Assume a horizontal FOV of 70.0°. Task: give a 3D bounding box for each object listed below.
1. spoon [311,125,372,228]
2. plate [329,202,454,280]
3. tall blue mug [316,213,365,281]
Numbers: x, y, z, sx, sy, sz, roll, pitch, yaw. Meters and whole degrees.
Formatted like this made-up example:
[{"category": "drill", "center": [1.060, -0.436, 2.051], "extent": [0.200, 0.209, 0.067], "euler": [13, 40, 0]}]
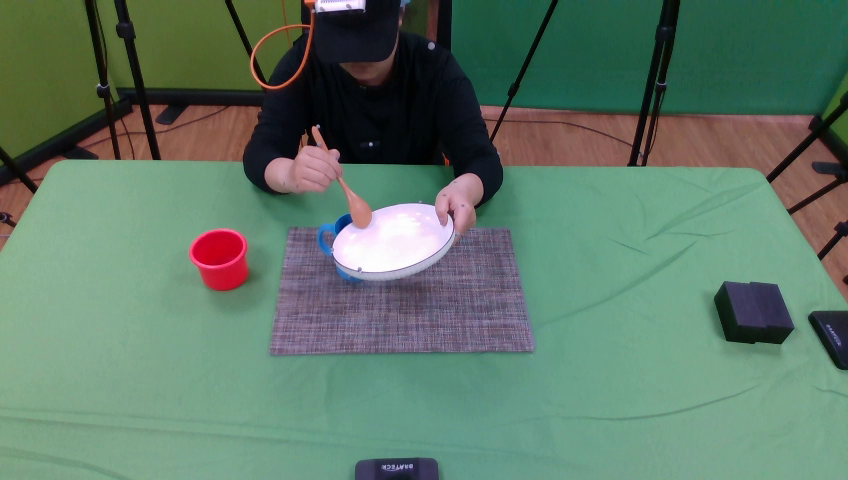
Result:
[{"category": "spoon", "center": [-0.144, -0.107, 1.037], "extent": [0.041, 0.194, 0.021], "euler": [-36, 13, -27]}, {"category": "plate", "center": [-0.050, 0.005, 0.998], "extent": [0.207, 0.039, 0.206], "euler": [-9, 32, 6]}, {"category": "tall blue mug", "center": [-0.142, 0.014, 1.109], "extent": [0.107, 0.108, 0.077], "euler": [-5, 48, -9]}]
